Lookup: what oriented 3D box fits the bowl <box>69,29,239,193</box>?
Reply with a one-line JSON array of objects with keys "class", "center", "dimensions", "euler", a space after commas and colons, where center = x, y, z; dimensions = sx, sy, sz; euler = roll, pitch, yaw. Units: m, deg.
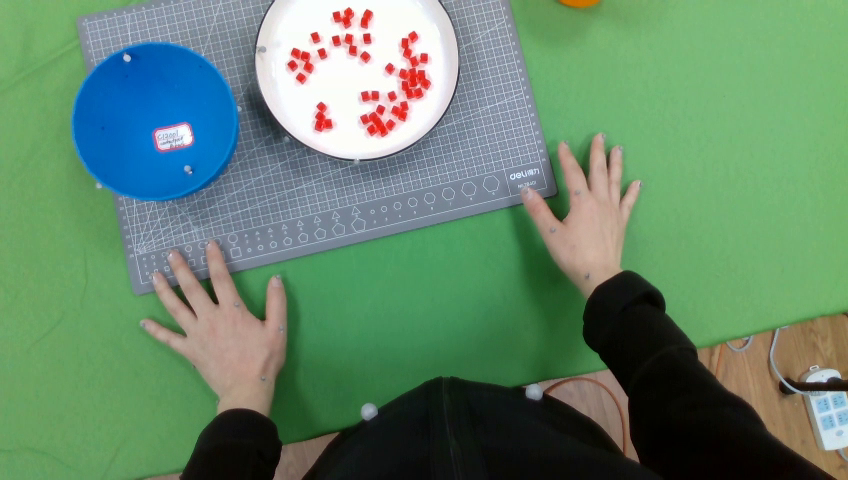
[{"class": "bowl", "center": [-0.249, -0.115, 0.591], "dimensions": [0.151, 0.077, 0.151], "euler": [0, 87, -3]}]

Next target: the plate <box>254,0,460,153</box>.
[{"class": "plate", "center": [-0.067, -0.191, 0.625], "dimensions": [0.209, 0.038, 0.208], "euler": [0, 86, -2]}]
